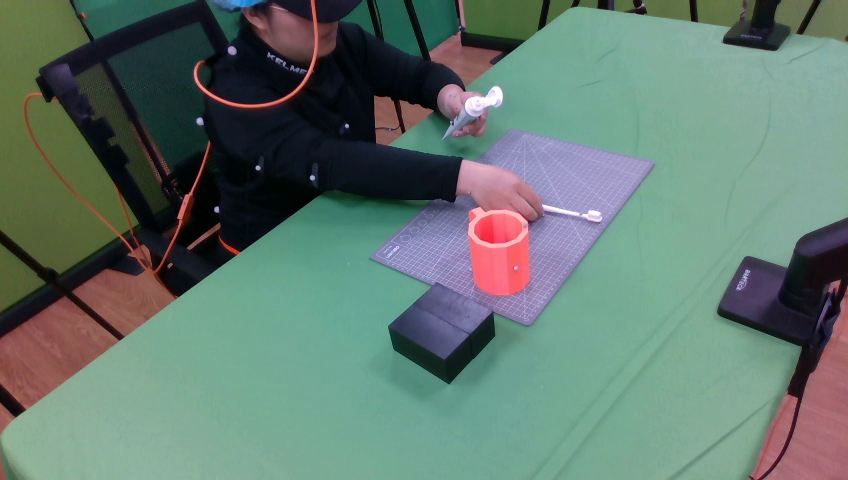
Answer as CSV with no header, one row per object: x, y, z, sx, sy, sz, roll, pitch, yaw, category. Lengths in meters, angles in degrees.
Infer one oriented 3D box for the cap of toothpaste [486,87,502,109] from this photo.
0.118,-0.241,1.028,0.011,0.037,0.037,-8,35,-34,cap of toothpaste

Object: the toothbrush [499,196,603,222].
0.209,-0.055,1.011,0.180,0.017,0.014,13,59,27,toothbrush

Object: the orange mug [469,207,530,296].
0.104,0.008,0.894,0.084,0.101,0.125,-22,46,-14,orange mug

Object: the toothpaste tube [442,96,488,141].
0.076,-0.224,1.106,0.055,0.164,0.034,-34,91,-18,toothpaste tube
